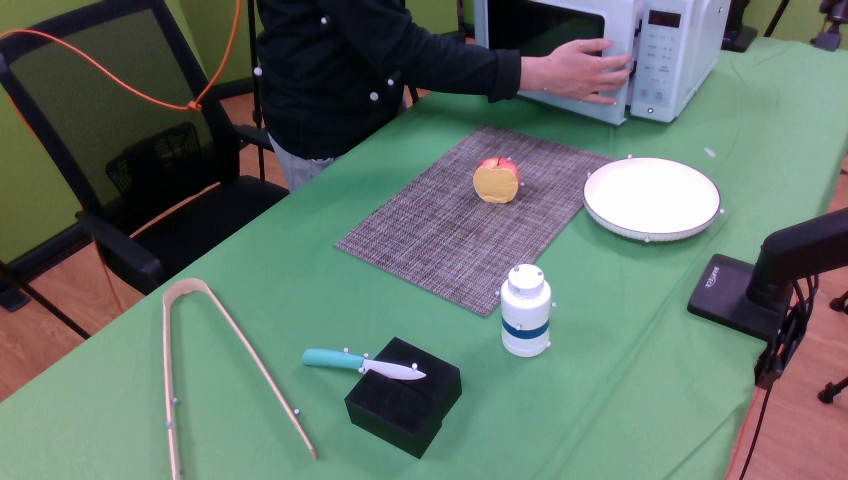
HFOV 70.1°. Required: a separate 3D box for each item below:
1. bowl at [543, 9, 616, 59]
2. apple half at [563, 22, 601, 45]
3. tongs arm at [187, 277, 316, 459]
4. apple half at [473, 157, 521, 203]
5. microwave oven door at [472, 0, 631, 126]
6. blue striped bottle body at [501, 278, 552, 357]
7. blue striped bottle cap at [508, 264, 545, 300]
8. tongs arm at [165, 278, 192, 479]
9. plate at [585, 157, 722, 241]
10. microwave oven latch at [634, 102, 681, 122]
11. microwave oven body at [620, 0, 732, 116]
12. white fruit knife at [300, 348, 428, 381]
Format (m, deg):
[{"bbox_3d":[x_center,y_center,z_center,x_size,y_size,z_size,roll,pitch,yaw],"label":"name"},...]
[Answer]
[{"bbox_3d":[0.336,-0.440,1.306,0.151,0.077,0.150,-8,31,5],"label":"bowl"},{"bbox_3d":[0.335,-0.449,1.299,0.081,0.033,0.081,-16,32,11],"label":"apple half"},{"bbox_3d":[-0.240,0.154,0.815,0.028,0.028,0.384,-31,46,-21],"label":"tongs arm"},{"bbox_3d":[0.127,-0.106,1.030,0.080,0.075,0.053,4,36,19],"label":"apple half"},{"bbox_3d":[0.242,-0.383,1.187,0.353,0.245,0.039,28,52,34],"label":"microwave oven door"},{"bbox_3d":[0.129,0.089,0.769,0.063,0.121,0.063,-4,40,4],"label":"blue striped bottle body"},{"bbox_3d":[0.125,0.051,0.735,0.044,0.021,0.044,-6,39,5],"label":"blue striped bottle cap"},{"bbox_3d":[-0.313,0.182,0.789,0.051,0.026,0.381,-19,41,-14],"label":"tongs arm"},{"bbox_3d":[0.367,-0.063,0.979,0.207,0.039,0.206,-4,41,4],"label":"plate"},{"bbox_3d":[0.445,-0.250,1.158,0.078,0.029,0.030,25,51,33],"label":"microwave oven latch"},{"bbox_3d":[0.377,-0.463,1.267,0.438,0.261,0.327,21,49,30],"label":"microwave oven body"},{"bbox_3d":[-0.079,0.154,0.748,0.206,0.027,0.016,1,21,34],"label":"white fruit knife"}]
